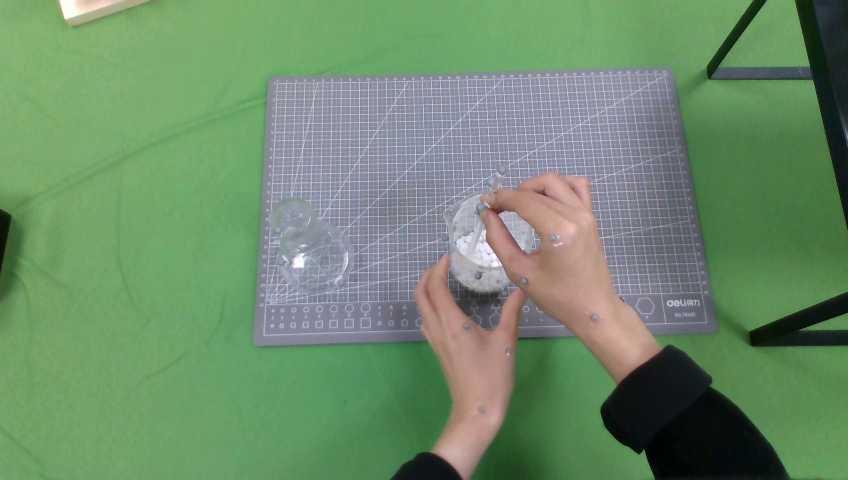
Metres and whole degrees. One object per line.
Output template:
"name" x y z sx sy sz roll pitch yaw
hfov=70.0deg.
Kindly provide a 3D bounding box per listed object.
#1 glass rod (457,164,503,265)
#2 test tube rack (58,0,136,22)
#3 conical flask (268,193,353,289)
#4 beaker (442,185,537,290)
"glass rod" 0.042 -0.014 0.496 0.008 0.200 0.008 2 69 -4
"test tube rack" -0.309 -0.336 0.680 0.242 0.085 0.066 -22 73 -7
"conical flask" -0.109 -0.004 0.553 0.075 0.122 0.075 0 72 1
"beaker" 0.056 0.001 0.564 0.084 0.101 0.073 21 72 8
